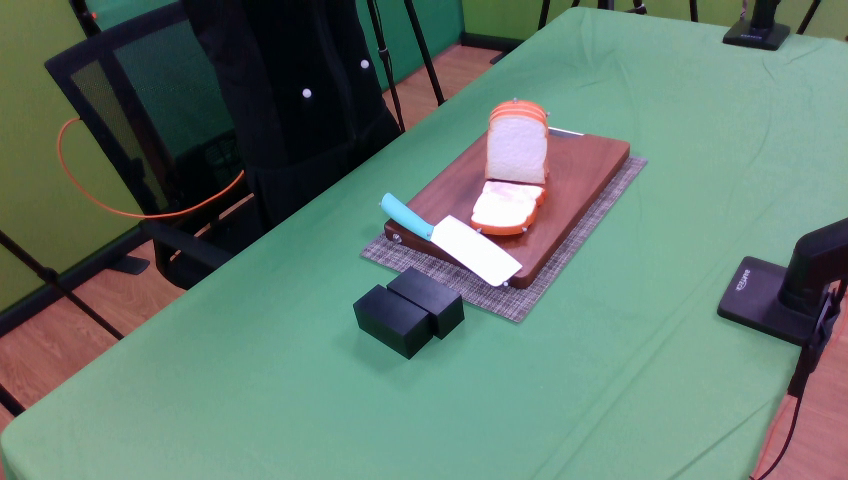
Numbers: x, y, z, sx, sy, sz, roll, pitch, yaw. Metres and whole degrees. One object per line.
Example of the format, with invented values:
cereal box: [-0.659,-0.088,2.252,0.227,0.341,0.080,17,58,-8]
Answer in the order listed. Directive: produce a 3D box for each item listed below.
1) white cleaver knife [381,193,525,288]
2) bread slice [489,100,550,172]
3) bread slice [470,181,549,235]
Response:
white cleaver knife: [0.036,-0.009,0.950,0.066,0.021,0.284,-37,53,-24]
bread slice: [0.164,-0.176,1.032,0.104,0.132,0.019,4,37,13]
bread slice: [0.131,-0.054,0.975,0.106,0.018,0.134,8,39,25]
